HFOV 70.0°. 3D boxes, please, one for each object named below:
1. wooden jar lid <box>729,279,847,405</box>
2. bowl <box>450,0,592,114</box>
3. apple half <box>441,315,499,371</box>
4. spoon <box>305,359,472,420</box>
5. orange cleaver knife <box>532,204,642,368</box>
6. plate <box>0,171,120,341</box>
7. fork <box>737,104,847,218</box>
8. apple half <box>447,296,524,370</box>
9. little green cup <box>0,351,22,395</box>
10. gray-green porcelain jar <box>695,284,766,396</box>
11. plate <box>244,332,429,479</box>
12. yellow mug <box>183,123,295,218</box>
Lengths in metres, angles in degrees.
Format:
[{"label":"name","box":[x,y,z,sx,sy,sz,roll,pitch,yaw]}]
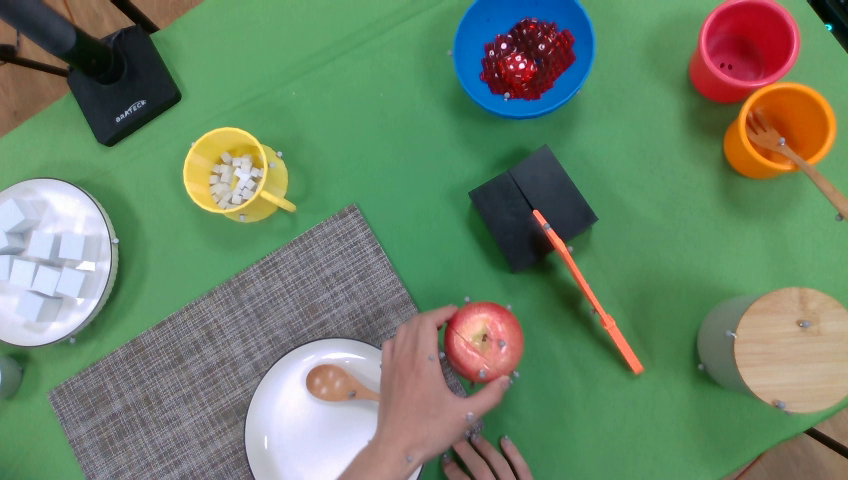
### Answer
[{"label":"wooden jar lid","box":[0.322,0.089,0.530,0.108,0.021,0.108,0,86,6]},{"label":"bowl","box":[0.107,-0.205,0.675,0.151,0.077,0.151,-1,85,8]},{"label":"apple half","box":[0.046,0.108,0.605,0.081,0.081,0.033,33,101,10]},{"label":"spoon","box":[-0.042,0.169,0.661,0.193,0.022,0.041,11,80,20]},{"label":"orange cleaver knife","box":[0.171,0.050,0.635,0.012,0.076,0.213,-33,113,7]},{"label":"plate","box":[-0.469,0.020,0.751,0.207,0.039,0.207,-1,84,8]},{"label":"fork","box":[0.365,-0.078,0.592,0.028,0.019,0.205,-9,39,0]},{"label":"apple half","box":[0.069,0.086,0.608,0.080,0.075,0.053,38,87,21]},{"label":"little green cup","box":[-0.531,0.164,0.743,0.061,0.039,0.061,-1,84,6]},{"label":"gray-green porcelain jar","box":[0.331,0.096,0.591,0.106,0.127,0.105,-1,83,8]},{"label":"plate","box":[-0.096,0.207,0.678,0.209,0.038,0.208,-1,84,8]},{"label":"yellow mug","box":[-0.208,-0.072,0.711,0.130,0.064,0.100,29,89,9]}]
